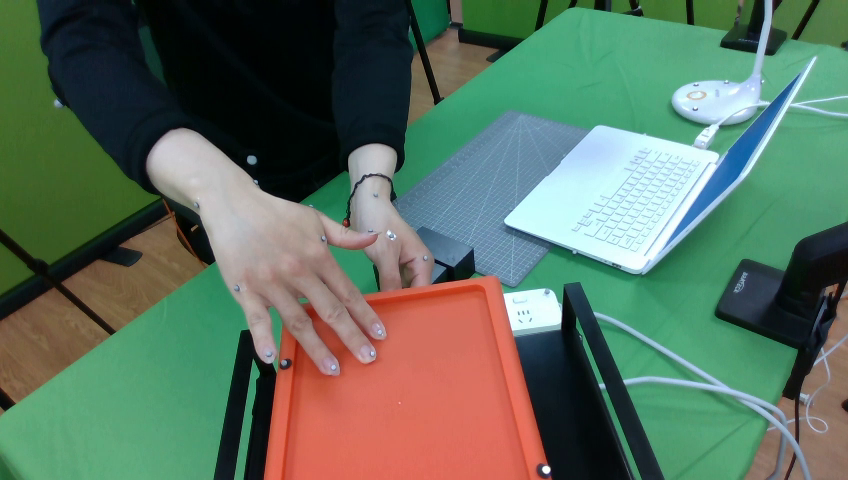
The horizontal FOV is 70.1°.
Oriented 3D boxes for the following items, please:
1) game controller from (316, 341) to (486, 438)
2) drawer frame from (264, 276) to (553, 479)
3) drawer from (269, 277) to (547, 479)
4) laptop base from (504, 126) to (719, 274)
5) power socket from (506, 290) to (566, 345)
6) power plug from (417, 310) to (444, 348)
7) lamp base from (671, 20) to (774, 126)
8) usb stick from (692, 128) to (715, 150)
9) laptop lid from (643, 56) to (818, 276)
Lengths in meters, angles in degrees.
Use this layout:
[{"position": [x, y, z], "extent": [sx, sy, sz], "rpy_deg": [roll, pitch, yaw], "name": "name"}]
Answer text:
[{"position": [-0.021, 0.121, 0.534], "extent": [0.155, 0.052, 0.096], "rpy_deg": [-4, 36, 0], "name": "game controller"}, {"position": [-0.016, 0.137, 0.490], "extent": [0.202, 0.083, 0.212], "rpy_deg": [-8, 41, -2], "name": "drawer frame"}, {"position": [-0.018, 0.137, 0.492], "extent": [0.195, 0.073, 0.210], "rpy_deg": [-7, 41, -1], "name": "drawer"}, {"position": [0.325, -0.084, 1.027], "extent": [0.233, 0.023, 0.355], "rpy_deg": [21, 48, 32], "name": "laptop base"}, {"position": [0.081, 0.112, 0.821], "extent": [0.227, 0.033, 0.072], "rpy_deg": [-7, 40, 0], "name": "power socket"}, {"position": [0.006, 0.123, 0.784], "extent": [0.035, 0.053, 0.072], "rpy_deg": [0, 42, 9], "name": "power plug"}, {"position": [0.581, -0.332, 1.153], "extent": [0.179, 0.181, 0.160], "rpy_deg": [2, 42, 7], "name": "lamp base"}, {"position": [0.501, -0.175, 1.091], "extent": [0.021, 0.027, 0.059], "rpy_deg": [29, 55, 29], "name": "usb stick"}, {"position": [0.445, -0.108, 0.876], "extent": [0.013, 0.241, 0.357], "rpy_deg": [39, 53, 12], "name": "laptop lid"}]
